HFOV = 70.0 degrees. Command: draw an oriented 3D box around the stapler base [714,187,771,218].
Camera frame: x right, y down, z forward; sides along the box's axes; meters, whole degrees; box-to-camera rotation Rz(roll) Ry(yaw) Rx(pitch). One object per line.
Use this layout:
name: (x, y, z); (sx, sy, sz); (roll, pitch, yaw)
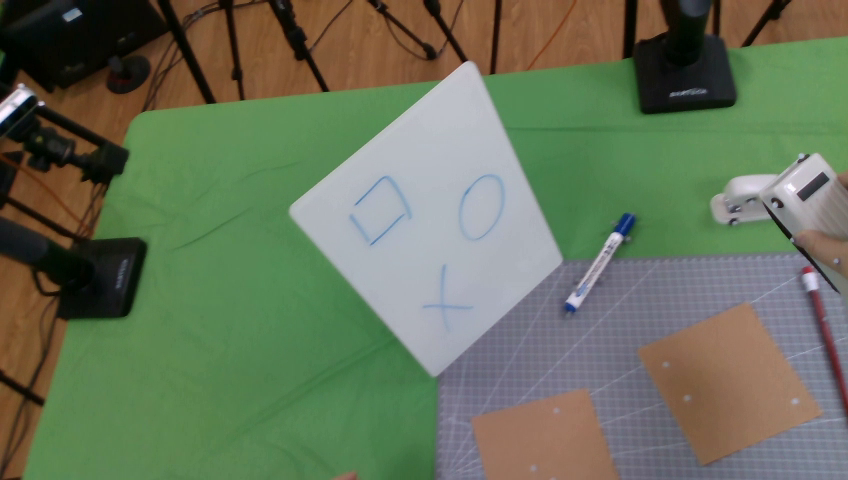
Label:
stapler base: (0.414, -0.056, 0.711); (0.130, 0.024, 0.041); (-8, 66, 8)

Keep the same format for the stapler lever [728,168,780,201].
stapler lever: (0.410, -0.067, 0.690); (0.118, 0.040, 0.026); (-8, 65, 9)

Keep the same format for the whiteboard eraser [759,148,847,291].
whiteboard eraser: (0.332, -0.017, 0.497); (0.055, 0.042, 0.112); (-39, 86, -3)

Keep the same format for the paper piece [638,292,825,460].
paper piece: (0.321, 0.142, 0.644); (0.136, 0.009, 0.137); (-25, 63, 6)

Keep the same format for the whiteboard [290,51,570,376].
whiteboard: (-0.001, -0.035, 0.675); (0.217, 0.309, 0.142); (-40, 41, -6)

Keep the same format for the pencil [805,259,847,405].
pencil: (0.428, 0.109, 0.632); (0.012, 0.012, 0.192); (-6, 66, 11)

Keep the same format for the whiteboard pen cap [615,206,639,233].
whiteboard pen cap: (0.247, -0.024, 0.737); (0.018, 0.018, 0.033); (28, 74, 24)

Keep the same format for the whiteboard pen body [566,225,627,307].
whiteboard pen body: (0.213, 0.021, 0.724); (0.017, 0.017, 0.140); (31, 74, 25)

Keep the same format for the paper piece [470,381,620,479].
paper piece: (0.129, 0.231, 0.646); (0.135, 0.004, 0.134); (-16, 63, 5)
